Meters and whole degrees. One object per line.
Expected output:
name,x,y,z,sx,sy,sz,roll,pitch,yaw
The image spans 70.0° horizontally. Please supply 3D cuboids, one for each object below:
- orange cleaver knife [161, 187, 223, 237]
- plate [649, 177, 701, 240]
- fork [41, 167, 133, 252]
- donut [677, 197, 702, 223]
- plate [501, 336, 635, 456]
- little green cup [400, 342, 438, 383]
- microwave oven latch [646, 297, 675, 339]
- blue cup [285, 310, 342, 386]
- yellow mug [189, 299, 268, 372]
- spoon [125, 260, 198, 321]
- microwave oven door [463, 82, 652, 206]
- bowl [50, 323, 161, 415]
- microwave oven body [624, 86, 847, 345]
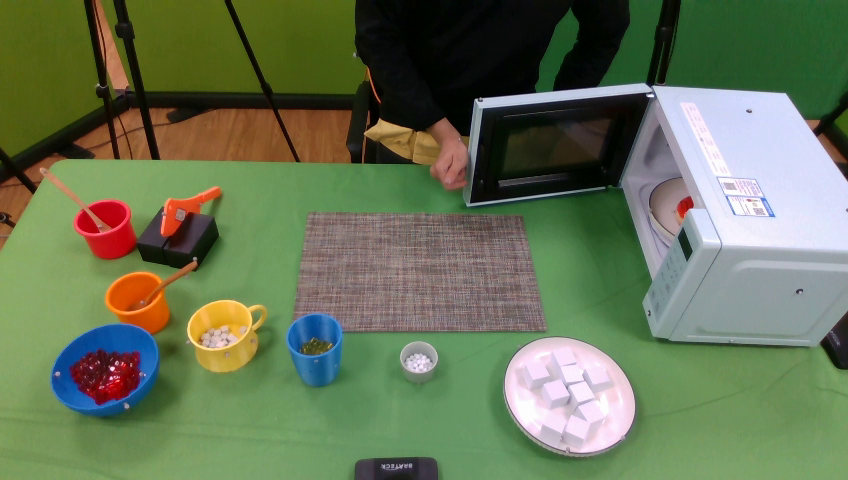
orange cleaver knife,-0.448,-0.058,1.181,0.012,0.077,0.211,13,17,6
plate,0.543,-0.044,1.181,0.209,0.038,0.208,2,46,-2
fork,-0.624,-0.056,1.121,0.208,0.018,0.028,49,52,-15
donut,0.539,-0.046,1.169,0.099,0.048,0.098,5,40,-4
plate,0.225,0.248,0.963,0.208,0.039,0.206,2,46,-2
little green cup,-0.010,0.202,0.991,0.061,0.039,0.061,2,47,-2
microwave oven latch,0.412,0.134,1.061,0.030,0.029,0.078,4,45,1
blue cup,-0.169,0.179,0.958,0.093,0.101,0.092,1,44,-1
yellow mug,-0.316,0.148,1.002,0.131,0.064,0.099,-32,56,-31
spoon,-0.435,0.083,1.000,0.022,0.194,0.041,35,34,-34
microwave oven door,0.263,-0.191,1.224,0.356,0.245,0.039,-8,47,-12
bowl,-0.472,0.209,0.924,0.151,0.077,0.150,2,45,-2
microwave oven body,0.567,-0.053,1.118,0.326,0.261,0.439,2,45,-1
